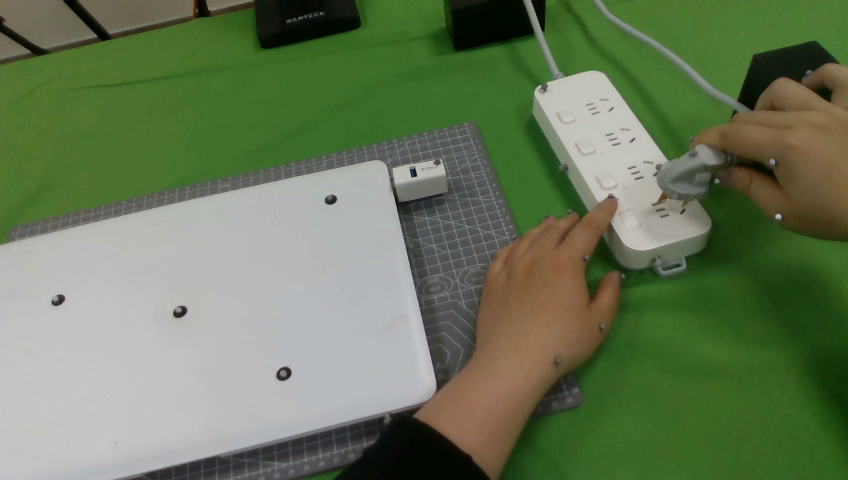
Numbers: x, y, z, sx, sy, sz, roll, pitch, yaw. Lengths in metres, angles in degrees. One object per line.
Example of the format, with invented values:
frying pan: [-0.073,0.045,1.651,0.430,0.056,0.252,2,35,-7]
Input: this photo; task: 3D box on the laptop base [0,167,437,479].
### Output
laptop base: [-0.183,0.066,0.474,0.354,0.023,0.233,-13,55,-3]

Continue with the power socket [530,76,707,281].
power socket: [0.157,-0.064,0.518,0.072,0.033,0.224,-15,52,-4]

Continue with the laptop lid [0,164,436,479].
laptop lid: [-0.184,0.061,0.463,0.357,0.013,0.239,-12,54,-1]

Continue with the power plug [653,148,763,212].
power plug: [0.204,-0.040,0.440,0.072,0.053,0.035,4,54,0]

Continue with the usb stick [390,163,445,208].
usb stick: [-0.013,-0.045,0.521,0.059,0.027,0.021,-14,51,1]
